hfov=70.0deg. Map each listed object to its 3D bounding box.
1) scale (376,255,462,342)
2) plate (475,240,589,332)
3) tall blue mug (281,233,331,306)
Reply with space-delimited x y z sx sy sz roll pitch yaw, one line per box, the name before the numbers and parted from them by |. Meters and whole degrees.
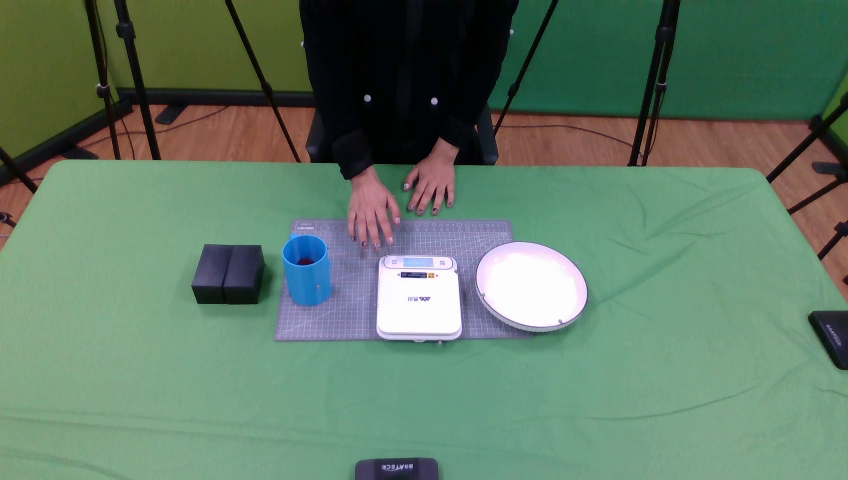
scale | -0.010 0.096 1.094 0.149 0.032 0.199 2 46 -3
plate | 0.195 0.087 1.112 0.209 0.038 0.208 3 46 -3
tall blue mug | -0.219 0.046 1.073 0.107 0.108 0.077 28 52 21
